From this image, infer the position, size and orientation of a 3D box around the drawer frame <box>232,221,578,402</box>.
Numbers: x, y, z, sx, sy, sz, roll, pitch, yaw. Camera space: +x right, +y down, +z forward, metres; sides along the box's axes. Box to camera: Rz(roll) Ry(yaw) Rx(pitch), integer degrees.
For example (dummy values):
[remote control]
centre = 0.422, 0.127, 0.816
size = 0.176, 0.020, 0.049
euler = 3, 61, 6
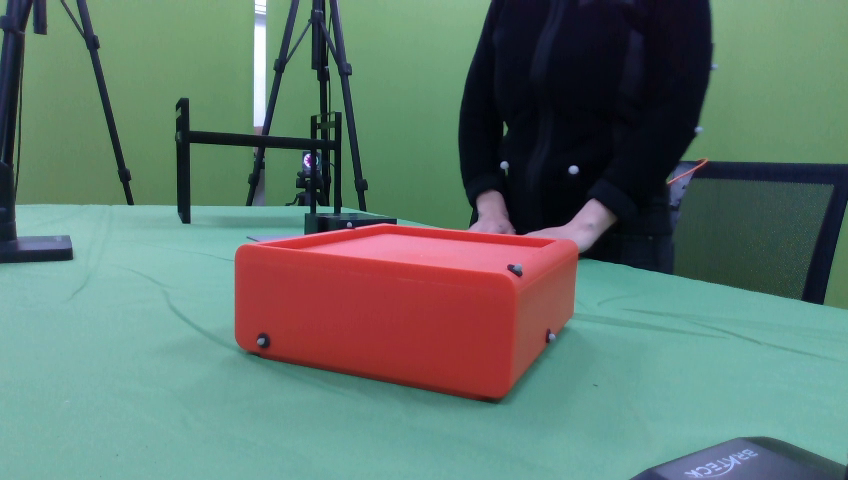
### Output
[drawer frame]
centre = 0.001, 0.038, 0.475
size = 0.201, 0.082, 0.214
euler = 6, 9, 22

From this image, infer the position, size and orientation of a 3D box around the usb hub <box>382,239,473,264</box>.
[usb hub]
centre = 0.006, 0.015, 0.852
size = 0.126, 0.025, 0.049
euler = -2, 8, -35

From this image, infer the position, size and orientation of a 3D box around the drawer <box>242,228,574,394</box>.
[drawer]
centre = 0.001, 0.041, 0.476
size = 0.194, 0.073, 0.212
euler = 6, 9, 22
